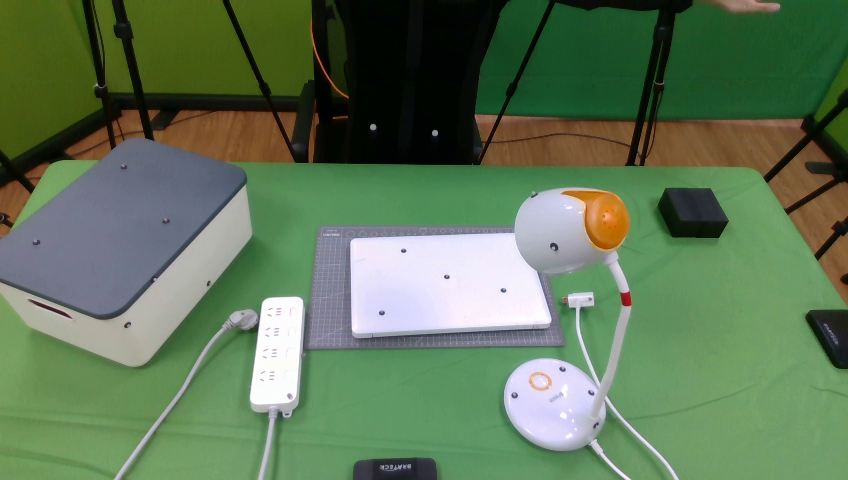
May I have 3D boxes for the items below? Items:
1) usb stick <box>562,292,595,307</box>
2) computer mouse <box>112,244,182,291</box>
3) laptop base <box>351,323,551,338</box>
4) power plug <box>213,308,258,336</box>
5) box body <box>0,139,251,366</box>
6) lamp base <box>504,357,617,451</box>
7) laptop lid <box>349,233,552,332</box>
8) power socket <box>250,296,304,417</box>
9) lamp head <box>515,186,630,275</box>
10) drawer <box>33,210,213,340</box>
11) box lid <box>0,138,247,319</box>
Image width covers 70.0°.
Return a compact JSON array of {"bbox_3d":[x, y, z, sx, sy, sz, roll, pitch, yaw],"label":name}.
[{"bbox_3d":[0.280,0.109,1.104,0.059,0.021,0.027,-6,12,23],"label":"usb stick"},{"bbox_3d":[-0.492,0.046,1.078,0.117,0.041,0.062,24,41,13],"label":"computer mouse"},{"bbox_3d":[0.040,0.080,1.126,0.355,0.023,0.234,-2,43,-6],"label":"laptop base"},{"bbox_3d":[-0.317,0.141,1.024,0.072,0.053,0.035,-27,56,-8],"label":"power plug"},{"bbox_3d":[-0.496,0.013,1.048,0.254,0.161,0.362,17,47,12],"label":"box body"},{"bbox_3d":[0.220,0.211,0.903,0.160,0.181,0.178,-32,59,-30],"label":"lamp base"},{"bbox_3d":[0.040,0.070,1.119,0.357,0.013,0.240,-1,44,-5],"label":"laptop lid"},{"bbox_3d":[-0.239,0.182,0.997,0.072,0.033,0.225,-2,47,-5],"label":"power socket"},{"bbox_3d":[0.188,-0.013,0.728,0.112,0.112,0.122,-25,9,-25],"label":"lamp head"},{"bbox_3d":[-0.509,0.055,1.046,0.194,0.073,0.211,15,44,11],"label":"drawer"},{"bbox_3d":[-0.494,-0.037,0.994,0.263,0.015,0.370,17,46,12],"label":"box lid"}]
